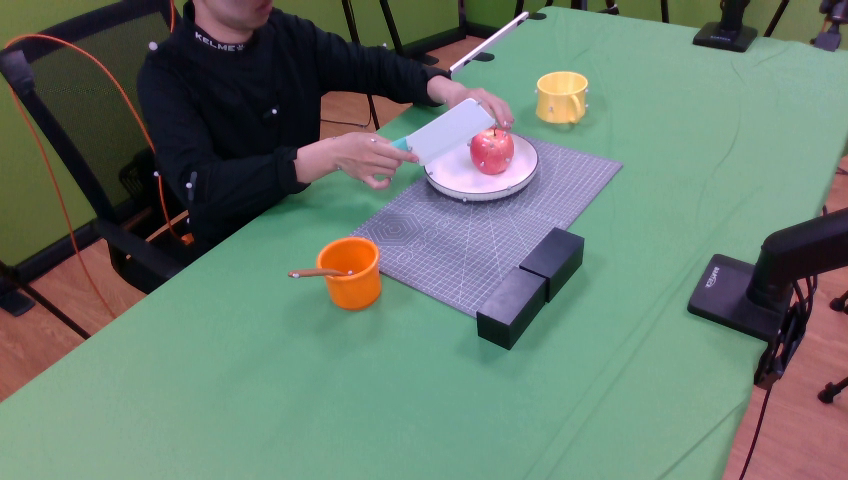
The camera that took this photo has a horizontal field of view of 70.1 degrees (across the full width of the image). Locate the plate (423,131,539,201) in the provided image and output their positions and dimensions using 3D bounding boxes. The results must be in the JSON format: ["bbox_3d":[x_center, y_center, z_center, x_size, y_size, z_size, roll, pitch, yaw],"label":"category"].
[{"bbox_3d":[0.102,-0.132,1.092,0.209,0.038,0.208,-4,40,4],"label":"plate"}]

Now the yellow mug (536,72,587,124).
[{"bbox_3d":[0.284,-0.281,1.222,0.100,0.064,0.130,-16,42,-9],"label":"yellow mug"}]

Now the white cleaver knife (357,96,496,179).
[{"bbox_3d":[-0.007,-0.151,0.984,0.285,0.066,0.021,-22,30,41],"label":"white cleaver knife"}]

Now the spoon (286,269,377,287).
[{"bbox_3d":[-0.125,0.049,0.831,0.041,0.195,0.021,22,92,28],"label":"spoon"}]

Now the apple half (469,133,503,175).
[{"bbox_3d":[0.102,-0.147,1.067,0.033,0.081,0.080,-28,44,-29],"label":"apple half"}]

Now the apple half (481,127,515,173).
[{"bbox_3d":[0.133,-0.164,1.084,0.053,0.075,0.080,-28,41,-27],"label":"apple half"}]
